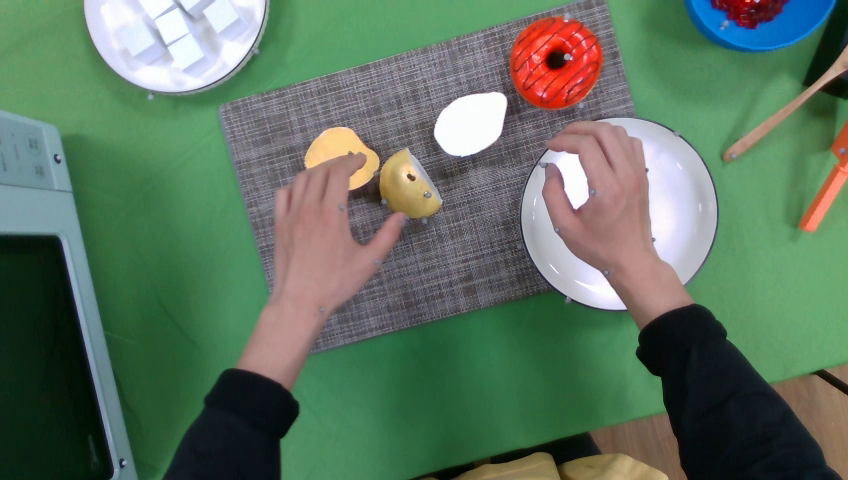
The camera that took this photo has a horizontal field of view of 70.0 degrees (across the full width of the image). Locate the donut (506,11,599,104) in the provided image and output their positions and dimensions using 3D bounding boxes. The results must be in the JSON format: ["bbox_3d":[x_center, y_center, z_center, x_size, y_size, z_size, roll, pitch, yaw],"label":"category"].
[{"bbox_3d":[0.138,-0.197,0.653,0.099,0.048,0.099,0,93,6],"label":"donut"}]

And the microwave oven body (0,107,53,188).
[{"bbox_3d":[-0.534,0.111,0.588,0.326,0.260,0.441,-13,92,3],"label":"microwave oven body"}]

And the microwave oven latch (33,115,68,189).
[{"bbox_3d":[-0.423,-0.096,0.673,0.030,0.029,0.079,-12,92,3],"label":"microwave oven latch"}]

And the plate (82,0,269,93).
[{"bbox_3d":[-0.273,-0.267,0.679,0.207,0.039,0.207,0,92,3],"label":"plate"}]

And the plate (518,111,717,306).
[{"bbox_3d":[0.206,-0.033,0.658,0.209,0.038,0.209,0,92,3],"label":"plate"}]

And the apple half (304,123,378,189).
[{"bbox_3d":[-0.095,-0.086,0.670,0.081,0.033,0.081,4,70,-10],"label":"apple half"}]

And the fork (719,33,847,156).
[{"bbox_3d":[0.394,-0.161,0.624,0.028,0.018,0.207,42,114,-7],"label":"fork"}]

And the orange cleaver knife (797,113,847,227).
[{"bbox_3d":[0.444,-0.114,0.625,0.012,0.077,0.212,21,118,8],"label":"orange cleaver knife"}]

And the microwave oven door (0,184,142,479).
[{"bbox_3d":[-0.383,0.121,0.576,0.039,0.244,0.355,-13,91,3],"label":"microwave oven door"}]

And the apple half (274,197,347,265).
[{"bbox_3d":[-0.129,-0.002,0.658,0.081,0.074,0.053,39,96,-3],"label":"apple half"}]

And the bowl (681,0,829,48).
[{"bbox_3d":[0.330,-0.267,0.629,0.151,0.077,0.151,0,92,3],"label":"bowl"}]

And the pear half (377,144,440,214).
[{"bbox_3d":[-0.021,-0.059,0.633,0.056,0.110,0.076,-38,86,3],"label":"pear half"}]

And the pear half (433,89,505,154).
[{"bbox_3d":[0.053,-0.128,0.667,0.088,0.031,0.070,-39,79,-4],"label":"pear half"}]
